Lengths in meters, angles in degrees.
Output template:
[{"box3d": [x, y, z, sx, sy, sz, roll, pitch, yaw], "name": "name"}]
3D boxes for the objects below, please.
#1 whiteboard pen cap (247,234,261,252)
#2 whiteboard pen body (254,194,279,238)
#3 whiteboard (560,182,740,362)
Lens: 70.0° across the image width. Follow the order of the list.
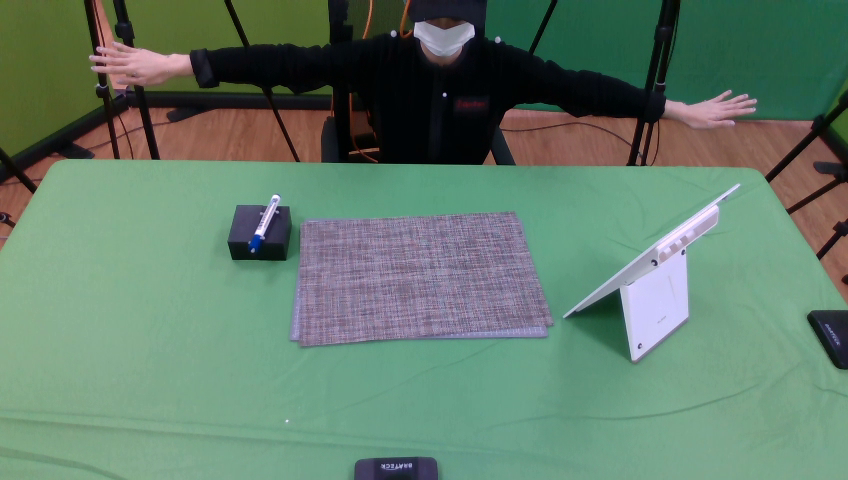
[{"box3d": [-0.308, 0.005, 1.103, 0.018, 0.018, 0.033, 8, 45, 3], "name": "whiteboard pen cap"}, {"box3d": [-0.300, -0.038, 1.145, 0.017, 0.017, 0.140, 8, 46, 3], "name": "whiteboard pen body"}, {"box3d": [0.406, 0.075, 1.001, 0.217, 0.306, 0.143, -28, 73, -28], "name": "whiteboard"}]
